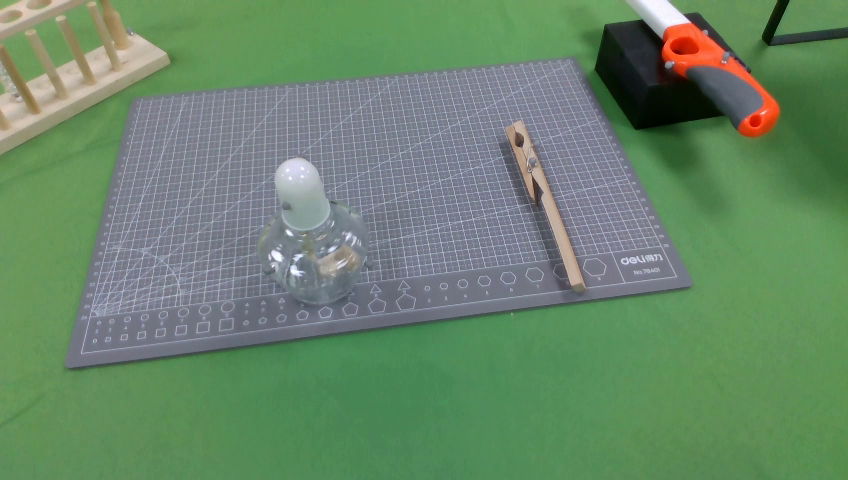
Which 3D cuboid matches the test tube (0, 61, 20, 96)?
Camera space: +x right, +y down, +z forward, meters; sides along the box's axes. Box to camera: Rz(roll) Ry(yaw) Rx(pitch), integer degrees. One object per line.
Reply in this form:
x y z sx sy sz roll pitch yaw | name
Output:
-0.391 -0.191 0.525 0.017 0.151 0.017 0 47 0 | test tube

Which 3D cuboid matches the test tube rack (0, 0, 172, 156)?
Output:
-0.369 -0.157 0.561 0.066 0.086 0.242 34 58 25 | test tube rack

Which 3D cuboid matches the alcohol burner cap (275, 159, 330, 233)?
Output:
-0.080 -0.031 0.387 0.034 0.048 0.033 0 53 0 | alcohol burner cap

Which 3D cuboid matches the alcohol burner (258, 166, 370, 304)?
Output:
-0.078 -0.009 0.415 0.078 0.120 0.077 -1 52 1 | alcohol burner

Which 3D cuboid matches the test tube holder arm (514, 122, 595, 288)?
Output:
0.102 -0.035 0.495 0.013 0.015 0.176 -34 48 21 | test tube holder arm

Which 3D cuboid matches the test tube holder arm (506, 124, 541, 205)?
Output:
0.089 -0.066 0.525 0.010 0.015 0.087 -32 49 23 | test tube holder arm

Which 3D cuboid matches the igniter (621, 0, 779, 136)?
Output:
0.235 -0.184 0.555 0.057 0.025 0.273 -13 49 -6 | igniter
